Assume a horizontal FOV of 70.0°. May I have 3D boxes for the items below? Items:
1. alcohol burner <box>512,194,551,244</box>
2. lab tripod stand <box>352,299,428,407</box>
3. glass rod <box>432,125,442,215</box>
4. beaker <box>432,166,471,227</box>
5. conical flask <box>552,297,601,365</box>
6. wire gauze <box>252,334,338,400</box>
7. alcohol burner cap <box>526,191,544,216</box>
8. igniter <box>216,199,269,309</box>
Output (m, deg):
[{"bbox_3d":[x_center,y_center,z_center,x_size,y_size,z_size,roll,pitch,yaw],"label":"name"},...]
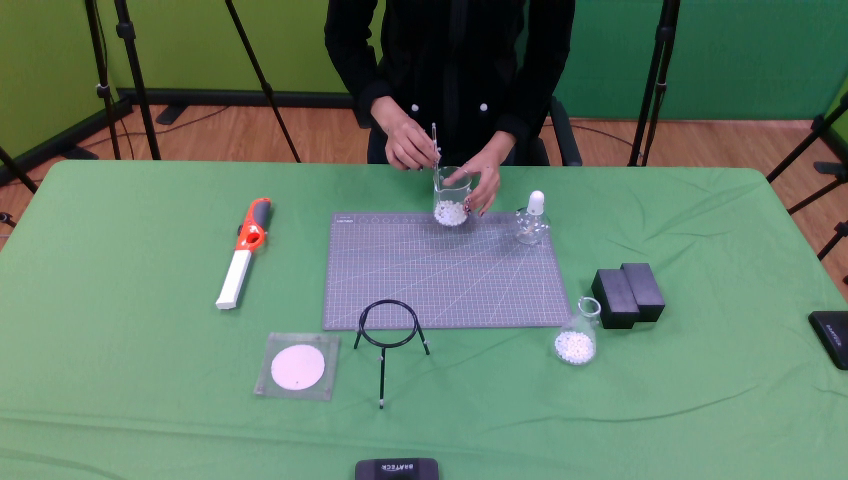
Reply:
[{"bbox_3d":[0.215,-0.048,1.196,0.078,0.119,0.077,4,46,-4],"label":"alcohol burner"},{"bbox_3d":[-0.056,0.166,0.958,0.148,0.132,0.147,3,44,-2],"label":"lab tripod stand"},{"bbox_3d":[0.025,-0.127,1.148,0.008,0.201,0.008,-4,39,3],"label":"glass rod"},{"bbox_3d":[0.050,-0.081,1.179,0.073,0.101,0.084,29,50,27],"label":"beaker"},{"bbox_3d":[0.261,0.147,1.009,0.075,0.122,0.075,2,46,-2],"label":"conical flask"},{"bbox_3d":[-0.209,0.204,0.996,0.125,0.011,0.120,3,45,1],"label":"wire gauze"},{"bbox_3d":[0.216,-0.073,1.170,0.034,0.048,0.033,0,42,1],"label":"alcohol burner cap"},{"bbox_3d":[-0.342,0.016,1.153,0.057,0.025,0.275,-3,45,7],"label":"igniter"}]
